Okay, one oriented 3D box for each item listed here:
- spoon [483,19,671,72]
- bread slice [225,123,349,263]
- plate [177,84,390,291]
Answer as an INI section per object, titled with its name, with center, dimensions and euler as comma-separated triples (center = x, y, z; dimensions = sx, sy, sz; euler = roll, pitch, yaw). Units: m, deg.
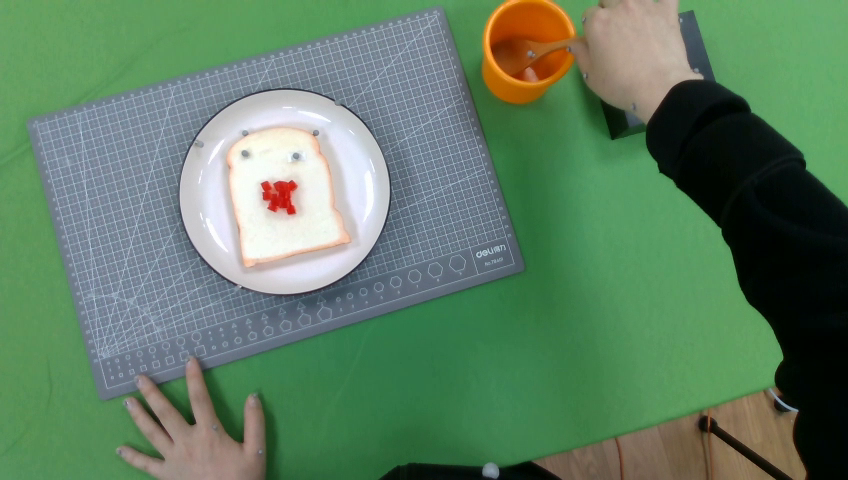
[spoon]
center = 0.139, -0.191, 0.584
dimensions = 0.022, 0.192, 0.041
euler = 17, 81, -46
[bread slice]
center = -0.146, -0.051, 0.613
dimensions = 0.107, 0.018, 0.134
euler = -17, 86, -5
[plate]
center = -0.138, -0.052, 0.613
dimensions = 0.209, 0.038, 0.208
euler = 0, 85, -3
